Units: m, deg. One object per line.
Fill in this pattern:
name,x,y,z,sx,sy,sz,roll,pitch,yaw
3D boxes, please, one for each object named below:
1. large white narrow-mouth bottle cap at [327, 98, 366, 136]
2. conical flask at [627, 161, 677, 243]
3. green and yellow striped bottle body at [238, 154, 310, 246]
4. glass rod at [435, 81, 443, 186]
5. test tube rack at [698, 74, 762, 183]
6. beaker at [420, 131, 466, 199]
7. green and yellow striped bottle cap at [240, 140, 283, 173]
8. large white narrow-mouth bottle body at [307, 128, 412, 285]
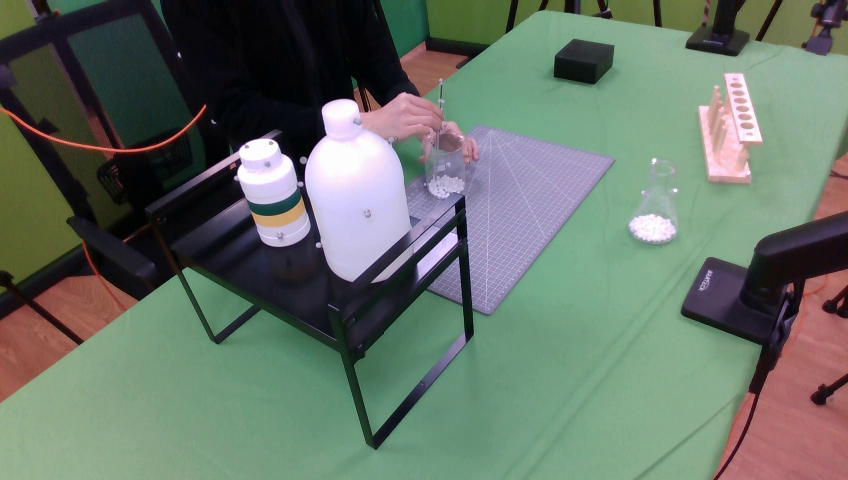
large white narrow-mouth bottle cap,-0.075,-0.118,0.581,0.038,0.024,0.037,-3,40,3
conical flask,0.355,-0.061,0.921,0.075,0.122,0.075,-4,41,4
green and yellow striped bottle body,-0.178,-0.056,0.714,0.063,0.120,0.063,-4,40,4
glass rod,0.026,-0.174,1.021,0.008,0.200,0.008,1,40,-1
test tube rack,0.547,-0.208,1.095,0.066,0.085,0.242,5,42,15
beaker,0.039,-0.131,1.060,0.084,0.101,0.073,-23,43,-18
green and yellow striped bottle cap,-0.183,-0.094,0.679,0.045,0.020,0.045,-4,38,4
large white narrow-mouth bottle body,-0.070,-0.051,0.638,0.102,0.195,0.101,-3,40,3
